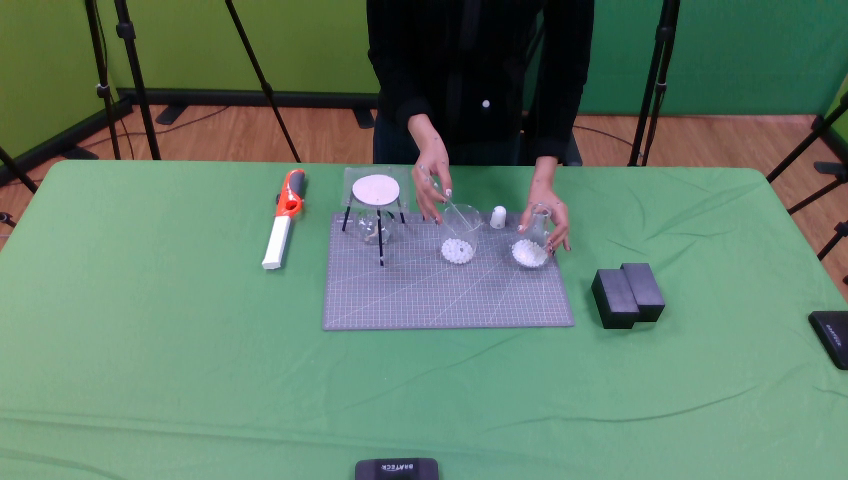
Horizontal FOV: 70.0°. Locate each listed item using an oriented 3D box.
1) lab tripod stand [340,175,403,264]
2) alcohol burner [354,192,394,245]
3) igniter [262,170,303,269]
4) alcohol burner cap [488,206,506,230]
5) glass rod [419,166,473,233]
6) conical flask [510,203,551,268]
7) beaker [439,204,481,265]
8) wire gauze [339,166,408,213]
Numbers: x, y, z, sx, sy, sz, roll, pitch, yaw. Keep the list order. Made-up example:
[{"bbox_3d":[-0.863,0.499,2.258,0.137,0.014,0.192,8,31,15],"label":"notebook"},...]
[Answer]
[{"bbox_3d":[-0.094,-0.050,1.160,0.148,0.132,0.147,2,44,-2],"label":"lab tripod stand"},{"bbox_3d":[-0.096,-0.048,1.171,0.078,0.119,0.077,4,45,-4],"label":"alcohol burner"},{"bbox_3d":[-0.283,-0.050,1.222,0.057,0.025,0.275,-5,45,6],"label":"igniter"},{"bbox_3d":[0.152,-0.047,1.241,0.034,0.048,0.033,3,44,-3],"label":"alcohol burner cap"},{"bbox_3d":[0.042,-0.069,1.084,0.008,0.201,0.008,-19,48,23],"label":"glass rod"},{"bbox_3d":[0.208,-0.011,1.136,0.075,0.122,0.075,3,44,-3],"label":"conical flask"},{"bbox_3d":[0.066,-0.006,1.154,0.074,0.101,0.083,7,47,4],"label":"beaker"},{"bbox_3d":[-0.091,-0.096,1.110,0.125,0.011,0.120,2,44,-3],"label":"wire gauze"}]
